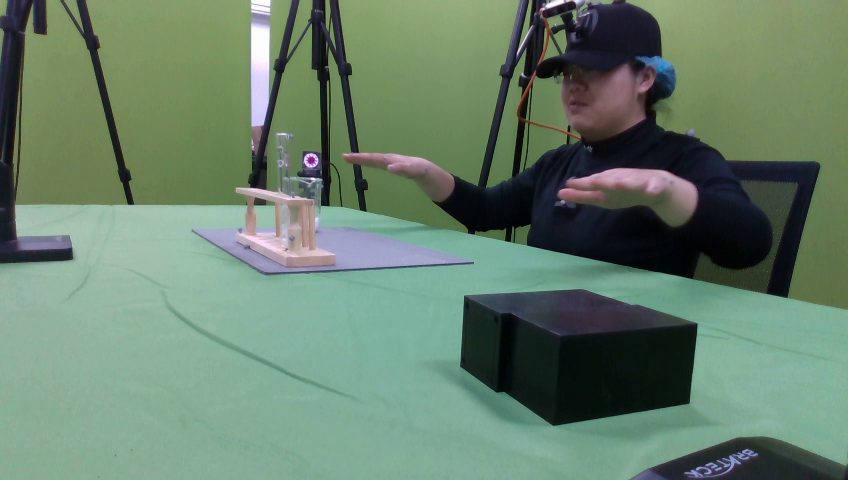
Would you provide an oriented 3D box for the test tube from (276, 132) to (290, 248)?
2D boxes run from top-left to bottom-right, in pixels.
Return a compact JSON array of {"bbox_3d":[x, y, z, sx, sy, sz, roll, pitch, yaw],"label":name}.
[{"bbox_3d":[-0.180,-0.063,0.778,0.017,0.150,0.017,0,9,0],"label":"test tube"}]

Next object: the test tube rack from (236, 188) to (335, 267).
[{"bbox_3d":[-0.202,-0.025,0.855,0.067,0.085,0.241,-2,9,-31],"label":"test tube rack"}]

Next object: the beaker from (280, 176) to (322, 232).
[{"bbox_3d":[-0.224,-0.065,1.111,0.074,0.100,0.083,-2,10,-30],"label":"beaker"}]
